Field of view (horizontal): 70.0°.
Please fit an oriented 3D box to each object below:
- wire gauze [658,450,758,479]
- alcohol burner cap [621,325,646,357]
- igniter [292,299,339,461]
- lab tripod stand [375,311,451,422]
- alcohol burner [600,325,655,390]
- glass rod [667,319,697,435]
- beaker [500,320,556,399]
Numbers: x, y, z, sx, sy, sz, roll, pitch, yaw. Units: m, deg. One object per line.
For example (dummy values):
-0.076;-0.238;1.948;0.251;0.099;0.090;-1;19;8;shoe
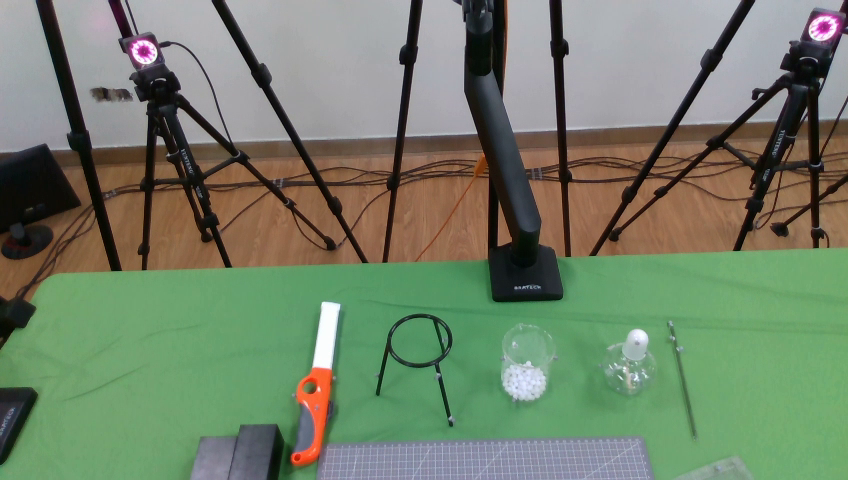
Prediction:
0.383;0.341;0.773;0.125;0.011;0.120;-16;47;-9;wire gauze
0.296;0.139;0.849;0.034;0.048;0.033;-3;51;4;alcohol burner cap
-0.160;0.203;0.921;0.057;0.025;0.273;10;45;-9;igniter
-0.005;0.173;0.869;0.148;0.133;0.147;-2;44;3;lab tripod stand
0.297;0.164;0.875;0.078;0.120;0.077;-1;44;2;alcohol burner
0.385;0.199;0.909;0.008;0.008;0.198;2;46;5;glass rod
0.147;0.176;0.882;0.074;0.101;0.083;-8;45;-5;beaker
